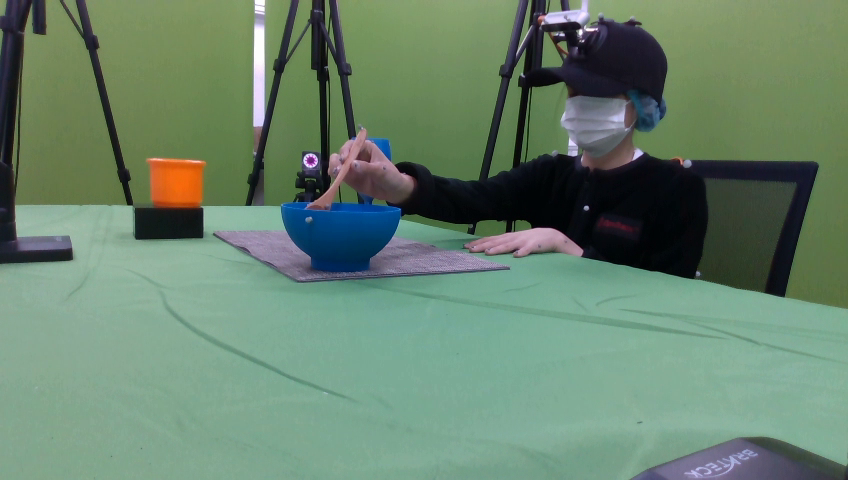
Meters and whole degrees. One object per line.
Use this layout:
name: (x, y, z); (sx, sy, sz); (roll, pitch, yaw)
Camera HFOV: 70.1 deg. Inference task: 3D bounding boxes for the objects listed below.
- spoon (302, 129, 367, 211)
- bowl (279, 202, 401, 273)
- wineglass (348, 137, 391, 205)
spoon: (-0.116, -0.077, 0.805); (0.042, 0.194, 0.021); (40, -29, -25)
bowl: (-0.105, -0.003, 0.756); (0.151, 0.077, 0.151); (3, 7, 0)
wineglass: (-0.093, -0.081, 0.996); (0.074, 0.172, 0.073); (3, 7, 0)
